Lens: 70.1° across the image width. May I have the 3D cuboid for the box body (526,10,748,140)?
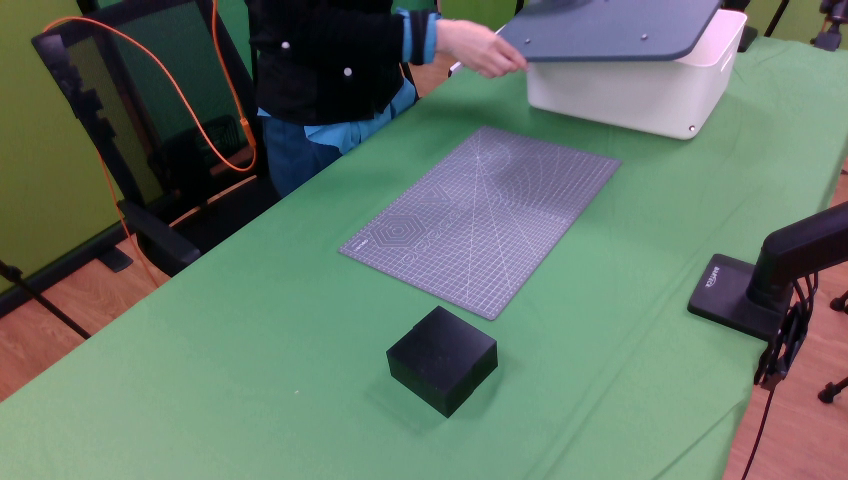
[{"bbox_3d":[0.412,-0.354,1.212,0.361,0.161,0.254,20,48,29],"label":"box body"}]

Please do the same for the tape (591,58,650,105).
[{"bbox_3d":[0.407,-0.331,1.259,0.117,0.053,0.116,-2,40,2],"label":"tape"}]

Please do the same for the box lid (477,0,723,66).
[{"bbox_3d":[0.297,-0.370,1.034,0.368,0.015,0.263,12,50,37],"label":"box lid"}]
